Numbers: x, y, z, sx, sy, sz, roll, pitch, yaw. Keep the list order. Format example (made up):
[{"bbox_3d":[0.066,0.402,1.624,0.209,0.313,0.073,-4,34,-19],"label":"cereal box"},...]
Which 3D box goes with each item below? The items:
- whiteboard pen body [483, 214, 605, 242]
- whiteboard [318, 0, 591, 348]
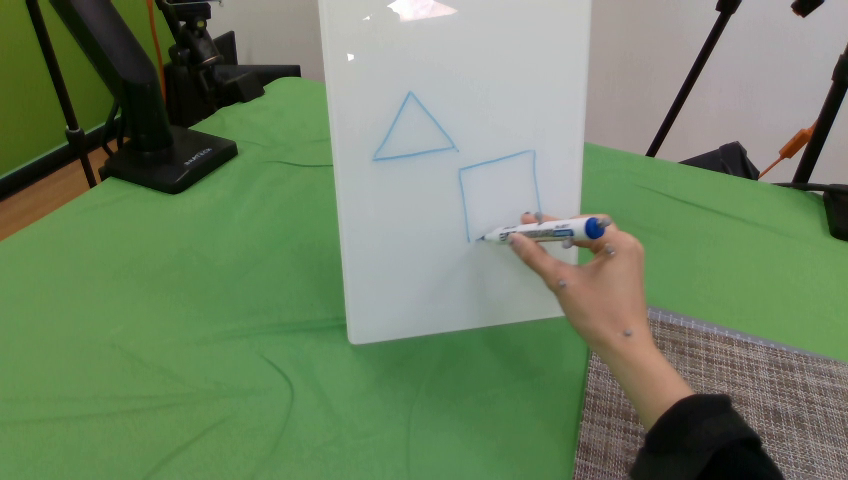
[{"bbox_3d":[0.084,-0.007,0.465,0.017,0.017,0.140,-20,7,-27],"label":"whiteboard pen body"},{"bbox_3d":[0.020,-0.083,0.563,0.218,0.307,0.142,-6,19,-11],"label":"whiteboard"}]
